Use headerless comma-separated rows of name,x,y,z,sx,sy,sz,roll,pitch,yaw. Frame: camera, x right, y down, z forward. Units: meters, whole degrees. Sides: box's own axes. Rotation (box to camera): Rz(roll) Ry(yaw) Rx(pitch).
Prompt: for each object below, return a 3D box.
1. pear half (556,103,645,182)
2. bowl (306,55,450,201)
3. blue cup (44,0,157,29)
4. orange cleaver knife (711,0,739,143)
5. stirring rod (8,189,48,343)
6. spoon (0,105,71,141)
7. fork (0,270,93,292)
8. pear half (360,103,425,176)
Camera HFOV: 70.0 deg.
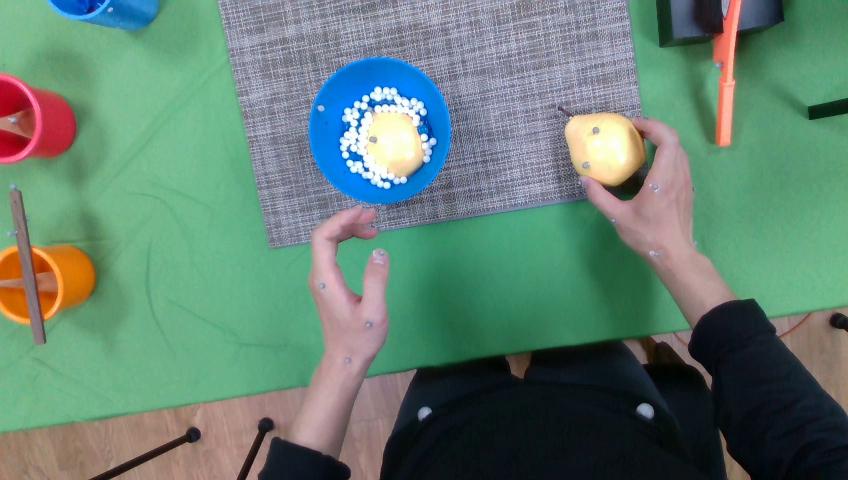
pear half,0.185,-0.113,0.655,0.109,0.056,0.076,40,92,5
bowl,-0.045,-0.119,0.662,0.151,0.076,0.151,1,97,5
blue cup,-0.346,-0.272,0.659,0.092,0.100,0.093,1,97,7
orange cleaver knife,0.308,-0.205,0.624,0.012,0.076,0.213,-6,125,11
stirring rod,-0.444,0.030,0.680,0.014,0.006,0.176,-5,98,2
spoon,-0.503,-0.129,0.669,0.195,0.021,0.042,-9,101,-38
fork,-0.494,0.047,0.687,0.209,0.018,0.028,4,109,-40
pear half,-0.040,-0.113,0.656,0.070,0.031,0.088,-36,89,7
